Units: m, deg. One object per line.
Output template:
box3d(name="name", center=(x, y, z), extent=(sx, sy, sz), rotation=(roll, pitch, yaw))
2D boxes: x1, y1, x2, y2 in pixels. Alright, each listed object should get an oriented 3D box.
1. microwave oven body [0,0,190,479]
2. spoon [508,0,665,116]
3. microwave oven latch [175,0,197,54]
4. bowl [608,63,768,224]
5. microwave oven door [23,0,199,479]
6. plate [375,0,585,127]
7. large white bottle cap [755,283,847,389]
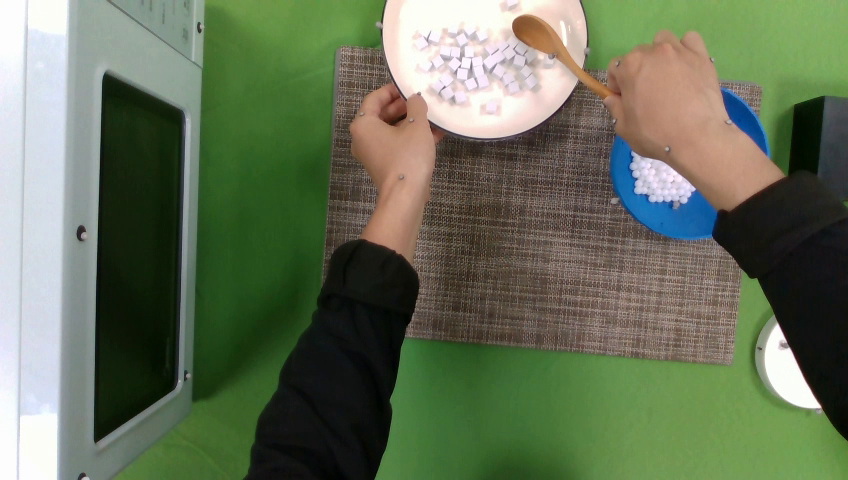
box3d(name="microwave oven body", center=(-0.392, -0.050, 0.504), extent=(0.326, 0.259, 0.442), rotation=(2, 94, -2))
box3d(name="spoon", center=(0.149, -0.172, 0.574), extent=(0.021, 0.042, 0.192), rotation=(-35, 65, -12))
box3d(name="microwave oven latch", center=(-0.238, -0.226, 0.593), extent=(0.030, 0.029, 0.079), rotation=(2, 94, -2))
box3d(name="bowl", center=(0.250, -0.092, 0.607), extent=(0.151, 0.076, 0.151), rotation=(0, 94, -1))
box3d(name="microwave oven door", center=(-0.247, -0.002, 0.506), extent=(0.039, 0.243, 0.356), rotation=(2, 93, -1))
box3d(name="plate", center=(0.056, -0.214, 0.611), extent=(0.209, 0.038, 0.209), rotation=(0, 90, -5))
box3d(name="large white bottle cap", center=(0.420, 0.105, 0.658), extent=(0.115, 0.018, 0.115), rotation=(0, 94, -3))
